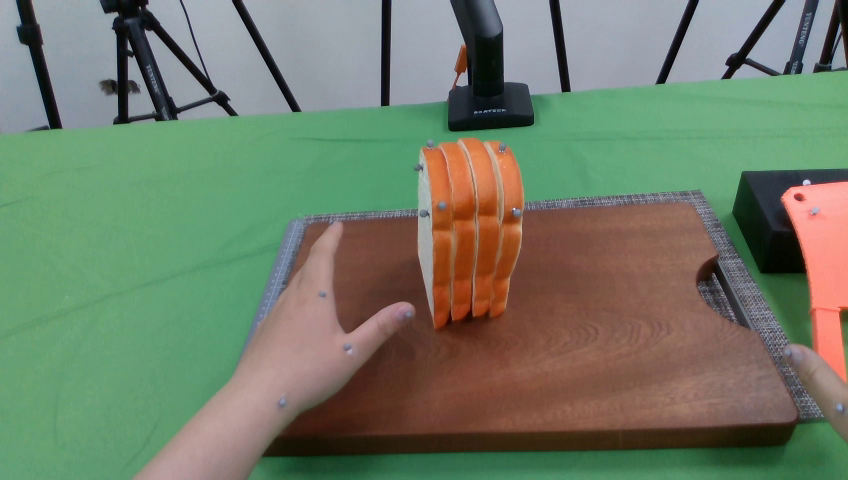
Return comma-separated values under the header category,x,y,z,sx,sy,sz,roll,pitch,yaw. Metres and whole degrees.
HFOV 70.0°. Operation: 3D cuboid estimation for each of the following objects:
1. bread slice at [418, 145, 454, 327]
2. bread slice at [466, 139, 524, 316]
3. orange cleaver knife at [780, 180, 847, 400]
category,x,y,z,sx,sy,sz,roll,pitch,yaw
bread slice,0.009,-0.012,0.514,0.018,0.135,0.106,-5,35,-6
bread slice,0.059,-0.016,0.514,0.019,0.132,0.103,-2,40,-9
orange cleaver knife,0.343,0.032,0.498,0.077,0.012,0.210,7,59,11
